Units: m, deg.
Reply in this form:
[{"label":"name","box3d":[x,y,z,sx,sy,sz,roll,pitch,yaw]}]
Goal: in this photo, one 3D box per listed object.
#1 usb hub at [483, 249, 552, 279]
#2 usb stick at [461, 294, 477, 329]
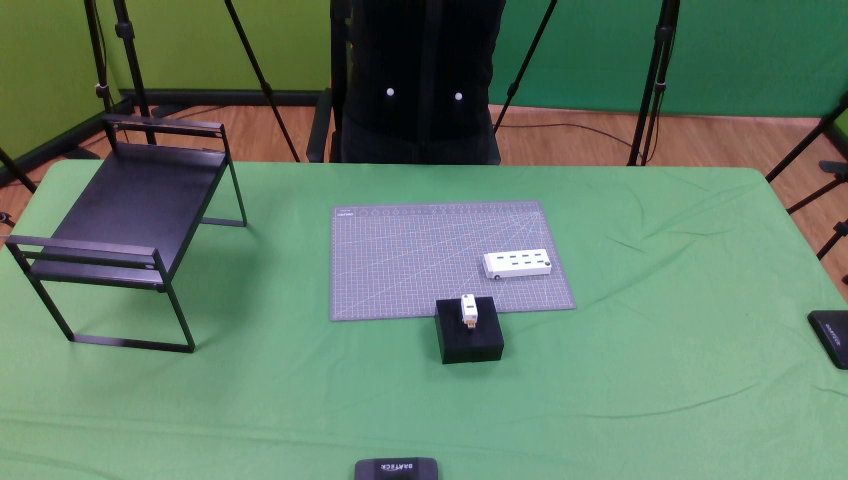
[{"label":"usb hub","box3d":[0.178,0.046,1.159,0.125,0.025,0.049,-5,47,-7]},{"label":"usb stick","box3d":[0.076,0.121,1.013,0.021,0.027,0.059,-1,49,-7]}]
